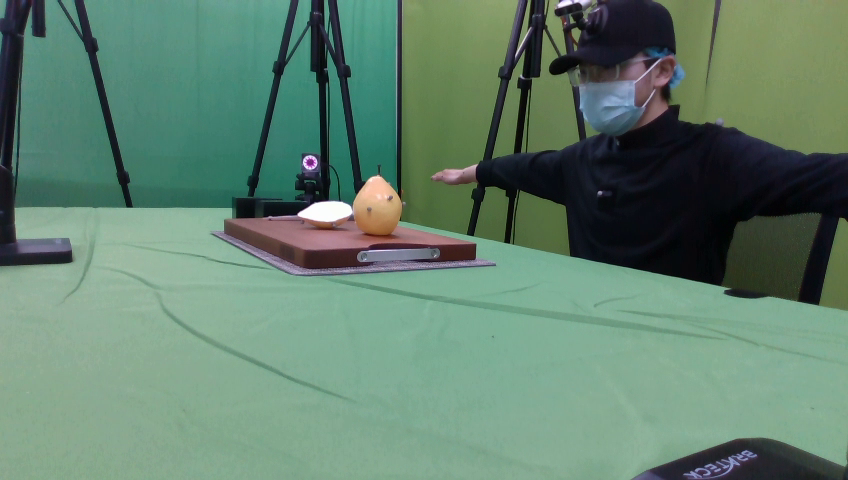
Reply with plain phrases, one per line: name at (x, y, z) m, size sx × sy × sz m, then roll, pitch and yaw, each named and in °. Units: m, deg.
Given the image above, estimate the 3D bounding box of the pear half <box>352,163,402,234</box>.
pear half at (-0.065, -0.063, 0.921) m, size 0.077 × 0.110 × 0.055 m, roll -8°, pitch 12°, yaw -39°

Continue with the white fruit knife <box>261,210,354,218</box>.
white fruit knife at (-0.199, -0.047, 1.122) m, size 0.208 × 0.016 × 0.027 m, roll -3°, pitch -6°, yaw -30°

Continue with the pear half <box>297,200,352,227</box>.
pear half at (-0.163, -0.038, 0.996) m, size 0.088 × 0.031 × 0.070 m, roll -13°, pitch 26°, yaw -15°
